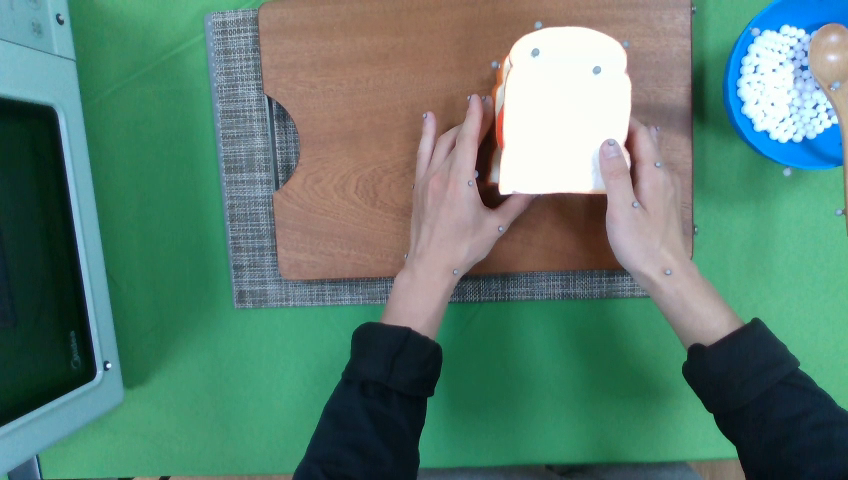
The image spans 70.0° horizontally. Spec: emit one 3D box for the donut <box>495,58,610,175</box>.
[{"bbox_3d":[0.110,-0.105,0.520,0.099,0.048,0.099,1,96,7],"label":"donut"}]

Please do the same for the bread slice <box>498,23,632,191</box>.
[{"bbox_3d":[0.111,-0.105,0.490,0.107,0.018,0.134,-3,94,1],"label":"bread slice"}]

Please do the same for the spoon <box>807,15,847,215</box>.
[{"bbox_3d":[0.349,-0.095,0.503,0.041,0.022,0.192,1,76,-3],"label":"spoon"}]

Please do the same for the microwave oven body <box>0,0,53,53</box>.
[{"bbox_3d":[-0.507,-0.020,0.527,0.326,0.260,0.442,-5,97,5],"label":"microwave oven body"}]

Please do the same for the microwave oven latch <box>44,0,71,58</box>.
[{"bbox_3d":[-0.368,-0.219,0.587,0.030,0.029,0.079,-5,97,5],"label":"microwave oven latch"}]

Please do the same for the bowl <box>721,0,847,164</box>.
[{"bbox_3d":[0.329,-0.141,0.531,0.151,0.077,0.151,1,97,6],"label":"bowl"}]

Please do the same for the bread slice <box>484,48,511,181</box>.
[{"bbox_3d":[0.108,-0.116,0.548,0.105,0.019,0.132,1,99,-2],"label":"bread slice"}]

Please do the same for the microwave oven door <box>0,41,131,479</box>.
[{"bbox_3d":[-0.358,0.009,0.512,0.039,0.243,0.356,-6,96,6],"label":"microwave oven door"}]
